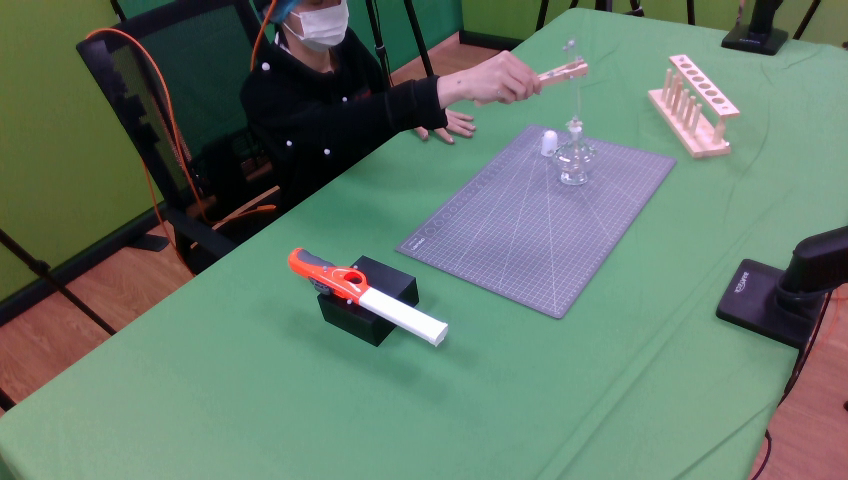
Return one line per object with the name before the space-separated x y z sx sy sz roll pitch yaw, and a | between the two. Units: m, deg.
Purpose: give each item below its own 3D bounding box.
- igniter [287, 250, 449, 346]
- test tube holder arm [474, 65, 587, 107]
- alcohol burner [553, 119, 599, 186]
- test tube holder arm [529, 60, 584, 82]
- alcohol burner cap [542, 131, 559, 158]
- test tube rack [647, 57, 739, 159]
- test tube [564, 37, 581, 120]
igniter | -0.087 0.073 0.825 0.274 0.025 0.057 23 48 27
test tube holder arm | 0.164 -0.238 0.932 0.178 0.015 0.013 -17 45 2
alcohol burner | 0.261 -0.153 1.042 0.078 0.119 0.077 -6 40 6
test tube holder arm | 0.205 -0.256 0.935 0.088 0.015 0.010 -23 46 -3
alcohol burner cap | 0.237 -0.180 1.134 0.034 0.048 0.033 -5 41 5
test tube rack | 0.504 -0.257 1.153 0.067 0.085 0.241 -8 40 1
test tube | 0.234 -0.249 0.947 0.017 0.151 0.017 -9 47 11
